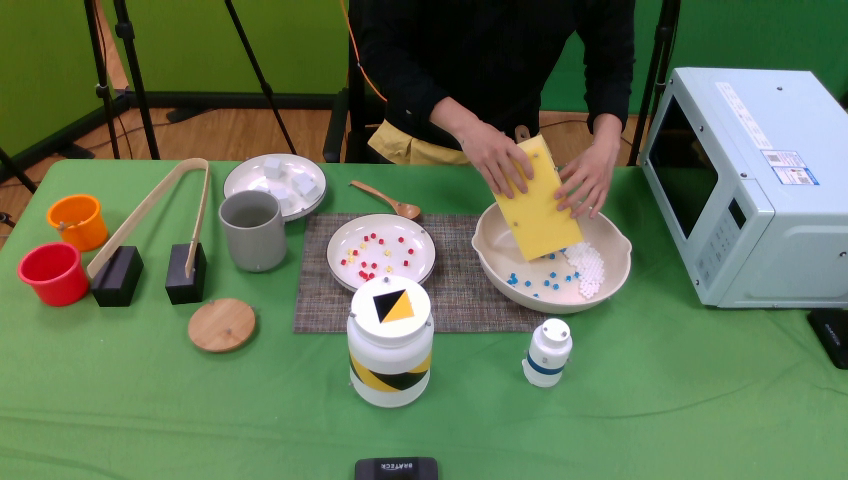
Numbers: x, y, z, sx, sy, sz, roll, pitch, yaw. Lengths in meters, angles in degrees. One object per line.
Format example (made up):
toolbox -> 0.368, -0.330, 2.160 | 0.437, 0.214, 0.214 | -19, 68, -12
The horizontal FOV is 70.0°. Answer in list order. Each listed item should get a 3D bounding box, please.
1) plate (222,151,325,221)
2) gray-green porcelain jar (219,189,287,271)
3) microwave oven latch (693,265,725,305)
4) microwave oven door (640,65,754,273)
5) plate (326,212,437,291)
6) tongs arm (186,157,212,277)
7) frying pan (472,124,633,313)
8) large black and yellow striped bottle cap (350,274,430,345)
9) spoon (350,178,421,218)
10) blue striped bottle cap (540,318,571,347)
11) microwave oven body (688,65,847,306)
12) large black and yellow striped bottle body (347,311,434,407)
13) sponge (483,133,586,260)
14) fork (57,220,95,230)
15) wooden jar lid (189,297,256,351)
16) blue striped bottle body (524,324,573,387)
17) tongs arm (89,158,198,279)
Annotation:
plate -> -0.310, -0.106, 1.262 | 0.208, 0.039, 0.206 | 2, 47, -2
gray-green porcelain jar -> -0.310, -0.014, 1.113 | 0.106, 0.127, 0.105 | 2, 46, -2
microwave oven latch -> 0.523, 0.082, 1.116 | 0.030, 0.029, 0.078 | 2, 46, -1
microwave oven door -> 0.523, -0.147, 1.193 | 0.039, 0.245, 0.353 | 0, 47, -3
plate -> -0.080, 0.030, 1.143 | 0.209, 0.038, 0.208 | 3, 46, -3
tongs arm -> -0.445, -0.058, 1.168 | 0.051, 0.026, 0.382 | -5, 37, -6
frying pan -> 0.234, -0.060, 1.208 | 0.307, 0.103, 0.484 | 2, 54, -6
large black and yellow striped bottle cap -> -0.048, 0.097, 0.867 | 0.115, 0.019, 0.114 | 3, 48, -3
spoon -> -0.084, -0.093, 1.272 | 0.193, 0.022, 0.041 | 31, 69, 25
blue striped bottle cap -> 0.203, 0.142, 0.933 | 0.044, 0.021, 0.044 | 3, 49, -3
microwave oven body -> 0.669, -0.111, 1.176 | 0.326, 0.261, 0.439 | 0, 46, -3
large black and yellow striped bottle body -> -0.052, 0.157, 0.929 | 0.131, 0.185, 0.130 | 2, 47, -2
sponge -> 0.206, -0.079, 1.124 | 0.118, 0.207, 0.060 | -22, 20, 19
fork -> -0.624, -0.027, 1.087 | 0.028, 0.207, 0.018 | -3, 92, -17
wooden jar lid -> -0.342, 0.145, 1.033 | 0.108, 0.021, 0.107 | 2, 45, -2
blue striped bottle body -> 0.200, 0.178, 0.970 | 0.063, 0.121, 0.062 | 2, 46, -2
tongs arm -> -0.529, -0.057, 1.164 | 0.028, 0.028, 0.385 | 1, 36, 8
